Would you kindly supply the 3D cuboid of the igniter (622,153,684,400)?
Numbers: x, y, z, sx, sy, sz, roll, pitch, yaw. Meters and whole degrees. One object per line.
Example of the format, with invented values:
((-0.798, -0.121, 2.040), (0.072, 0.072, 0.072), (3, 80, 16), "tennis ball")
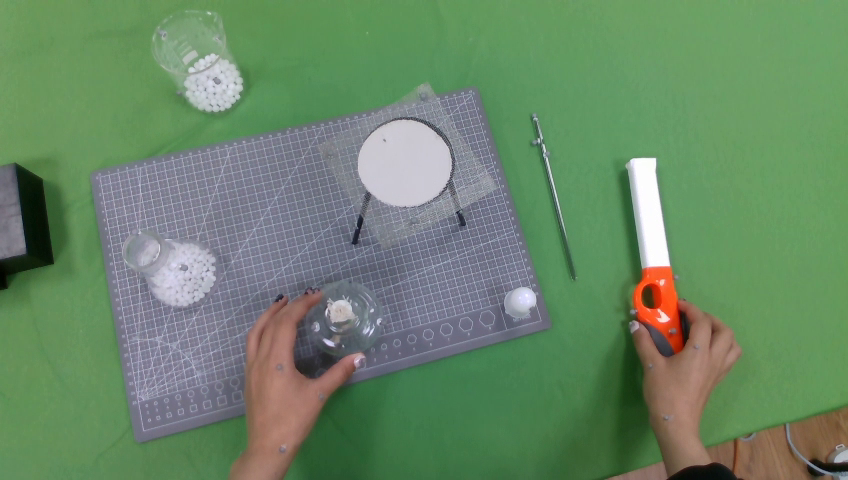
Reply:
((0.254, 0.036, 0.676), (0.057, 0.025, 0.275), (-2, 78, -7), "igniter")

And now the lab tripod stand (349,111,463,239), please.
((-0.023, -0.060, 0.623), (0.148, 0.132, 0.147), (1, 79, -3), "lab tripod stand")

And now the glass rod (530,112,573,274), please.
((0.146, -0.057, 0.700), (0.008, 0.008, 0.198), (-10, 78, -6), "glass rod")

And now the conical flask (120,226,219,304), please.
((-0.255, 0.019, 0.596), (0.075, 0.122, 0.075), (1, 77, -3), "conical flask")

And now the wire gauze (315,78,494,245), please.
((-0.018, -0.073, 0.557), (0.125, 0.011, 0.121), (-31, 81, -9), "wire gauze")

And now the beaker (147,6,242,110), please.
((-0.242, -0.194, 0.659), (0.074, 0.100, 0.084), (33, 77, 4), "beaker")

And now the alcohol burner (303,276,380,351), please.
((-0.083, 0.071, 0.601), (0.078, 0.119, 0.077), (1, 77, -5), "alcohol burner")

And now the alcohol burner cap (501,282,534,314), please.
((0.102, 0.060, 0.651), (0.034, 0.048, 0.033), (1, 77, -4), "alcohol burner cap")
